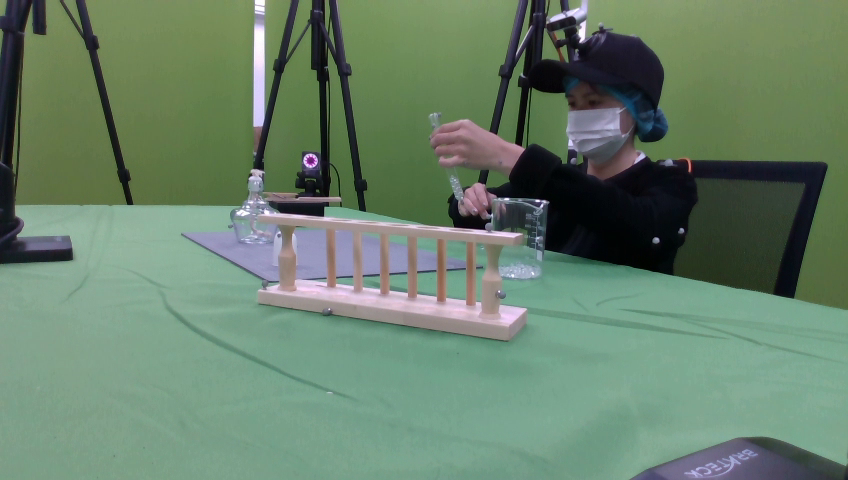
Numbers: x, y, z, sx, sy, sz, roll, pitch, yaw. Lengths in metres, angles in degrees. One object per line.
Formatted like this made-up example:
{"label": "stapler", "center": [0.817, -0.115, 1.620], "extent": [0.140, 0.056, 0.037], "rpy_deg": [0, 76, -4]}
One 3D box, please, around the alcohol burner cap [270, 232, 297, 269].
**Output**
{"label": "alcohol burner cap", "center": [-0.175, 0.012, 0.760], "extent": [0.034, 0.048, 0.034], "rpy_deg": [2, 7, 0]}

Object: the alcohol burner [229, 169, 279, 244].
{"label": "alcohol burner", "center": [-0.268, -0.053, 0.958], "extent": [0.078, 0.119, 0.078], "rpy_deg": [2, 6, 0]}

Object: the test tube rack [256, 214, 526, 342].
{"label": "test tube rack", "center": [-0.032, 0.027, 0.547], "extent": [0.241, 0.085, 0.067], "rpy_deg": [5, 7, 22]}

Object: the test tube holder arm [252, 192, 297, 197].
{"label": "test tube holder arm", "center": [-0.301, -0.092, 1.223], "extent": [0.088, 0.010, 0.015], "rpy_deg": [0, 7, -25]}

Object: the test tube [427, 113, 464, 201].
{"label": "test tube", "center": [0.036, -0.135, 0.990], "extent": [0.017, 0.150, 0.017], "rpy_deg": [-19, 4, 2]}

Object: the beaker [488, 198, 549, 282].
{"label": "beaker", "center": [0.120, -0.001, 0.768], "extent": [0.074, 0.100, 0.083], "rpy_deg": [-1, 9, -25]}

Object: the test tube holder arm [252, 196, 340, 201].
{"label": "test tube holder arm", "center": [-0.260, -0.086, 1.242], "extent": [0.179, 0.013, 0.015], "rpy_deg": [-1, 8, -25]}
